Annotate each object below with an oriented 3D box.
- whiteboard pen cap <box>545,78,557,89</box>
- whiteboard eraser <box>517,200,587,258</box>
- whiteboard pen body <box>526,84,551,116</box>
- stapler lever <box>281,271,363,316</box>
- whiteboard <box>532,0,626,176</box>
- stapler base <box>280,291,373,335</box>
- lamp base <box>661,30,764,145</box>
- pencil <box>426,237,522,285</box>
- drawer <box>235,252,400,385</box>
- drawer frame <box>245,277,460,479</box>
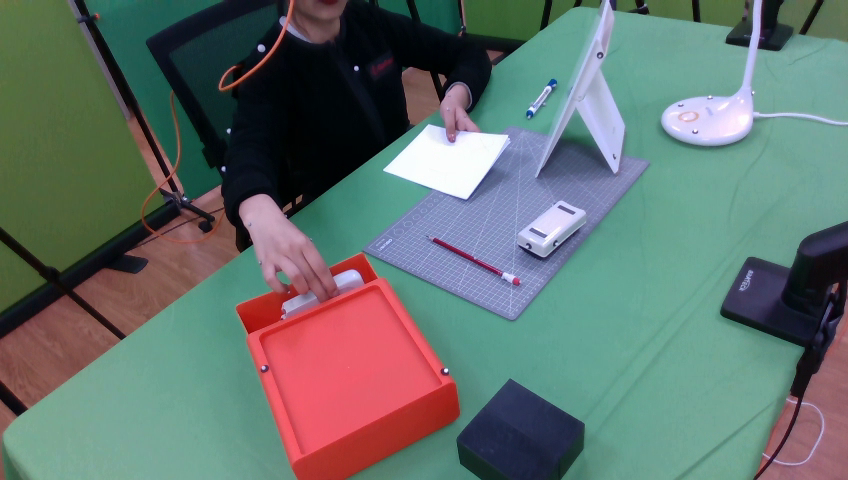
[{"bbox_3d":[0.280,-0.344,1.335,0.018,0.018,0.033,15,45,26],"label":"whiteboard pen cap"},{"bbox_3d":[0.201,-0.016,0.943,0.113,0.042,0.055,-37,46,-29],"label":"whiteboard eraser"},{"bbox_3d":[0.251,-0.305,1.298,0.017,0.017,0.141,15,45,26],"label":"whiteboard pen body"},{"bbox_3d":[-0.141,0.076,0.840,0.118,0.040,0.026,-16,34,-19],"label":"stapler lever"},{"bbox_3d":[0.321,-0.258,1.050,0.144,0.306,0.217,22,45,5],"label":"whiteboard"},{"bbox_3d":[-0.138,0.095,0.855,0.131,0.024,0.041,-17,34,-18],"label":"stapler base"},{"bbox_3d":[0.535,-0.287,1.096,0.179,0.181,0.159,-10,40,-4],"label":"lamp base"},{"bbox_3d":[0.072,0.028,0.941,0.192,0.012,0.012,26,52,37],"label":"pencil"},{"bbox_3d":[-0.125,0.132,0.804,0.195,0.073,0.210,-23,42,-17],"label":"drawer"},{"bbox_3d":[-0.093,0.167,0.755,0.202,0.083,0.211,-23,43,-17],"label":"drawer frame"}]
